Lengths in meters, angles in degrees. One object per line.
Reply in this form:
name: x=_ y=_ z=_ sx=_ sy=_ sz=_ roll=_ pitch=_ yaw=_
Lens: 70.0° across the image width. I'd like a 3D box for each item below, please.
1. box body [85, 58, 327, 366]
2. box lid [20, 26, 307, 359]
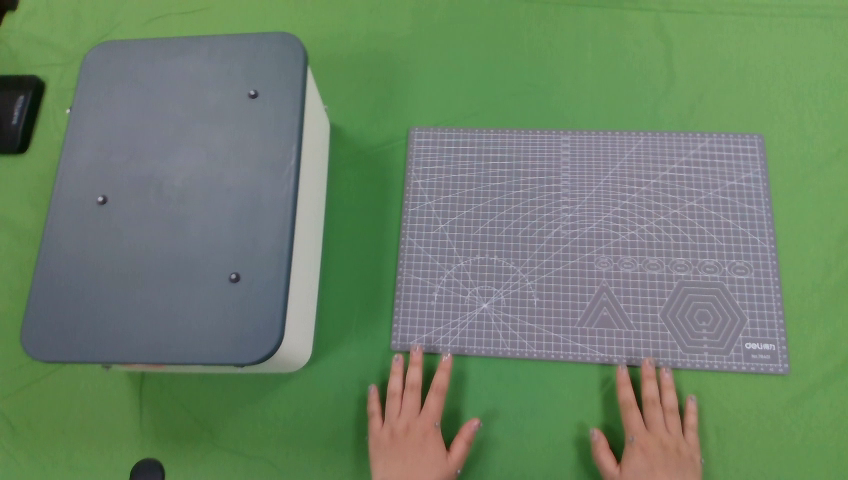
box body: x=-0.255 y=-0.037 z=0.700 sx=0.254 sy=0.161 sz=0.361 roll=-1 pitch=72 yaw=4
box lid: x=-0.261 y=-0.063 z=0.630 sx=0.263 sy=0.015 sz=0.369 roll=-1 pitch=73 yaw=4
